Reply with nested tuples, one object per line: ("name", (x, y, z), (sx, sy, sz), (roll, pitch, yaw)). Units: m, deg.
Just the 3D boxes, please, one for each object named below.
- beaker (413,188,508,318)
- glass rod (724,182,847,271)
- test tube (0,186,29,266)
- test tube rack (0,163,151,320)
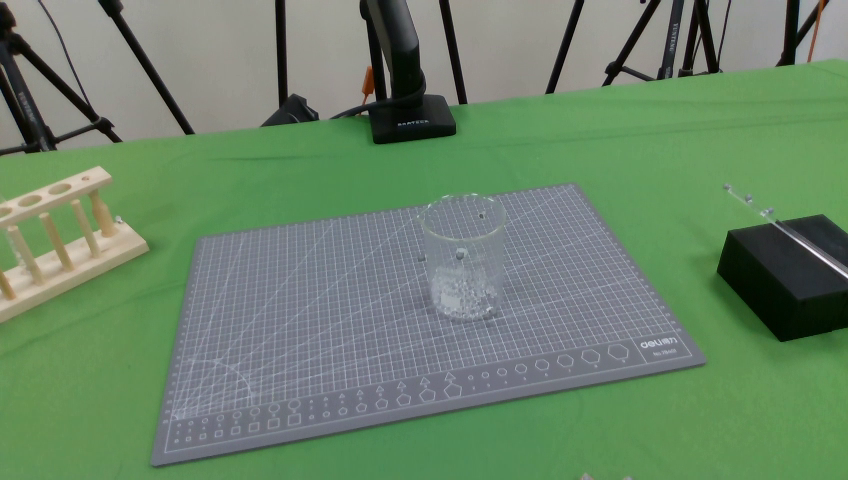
("beaker", (0.034, 0.015, 0.552), (0.084, 0.101, 0.073), (5, 38, 13))
("glass rod", (0.342, -0.004, 0.545), (0.008, 0.008, 0.197), (-15, 38, -13))
("test tube", (-0.419, -0.039, 0.594), (0.017, 0.151, 0.017), (-4, 30, 3))
("test tube rack", (-0.415, 0.017, 0.603), (0.242, 0.086, 0.066), (-33, 46, -32))
